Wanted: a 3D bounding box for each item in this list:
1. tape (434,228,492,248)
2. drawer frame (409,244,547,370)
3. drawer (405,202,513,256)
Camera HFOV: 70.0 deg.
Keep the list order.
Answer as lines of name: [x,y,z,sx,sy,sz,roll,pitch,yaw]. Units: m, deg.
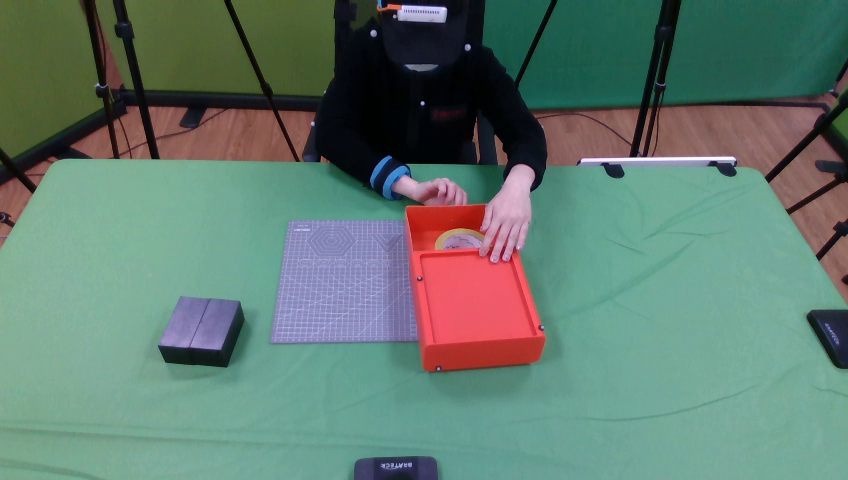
tape: [0.071,0.033,1.138,0.117,0.053,0.116,2,46,-2]
drawer frame: [0.084,0.110,1.048,0.202,0.083,0.212,-3,46,-8]
drawer: [0.069,0.025,1.138,0.195,0.073,0.210,-2,46,-6]
